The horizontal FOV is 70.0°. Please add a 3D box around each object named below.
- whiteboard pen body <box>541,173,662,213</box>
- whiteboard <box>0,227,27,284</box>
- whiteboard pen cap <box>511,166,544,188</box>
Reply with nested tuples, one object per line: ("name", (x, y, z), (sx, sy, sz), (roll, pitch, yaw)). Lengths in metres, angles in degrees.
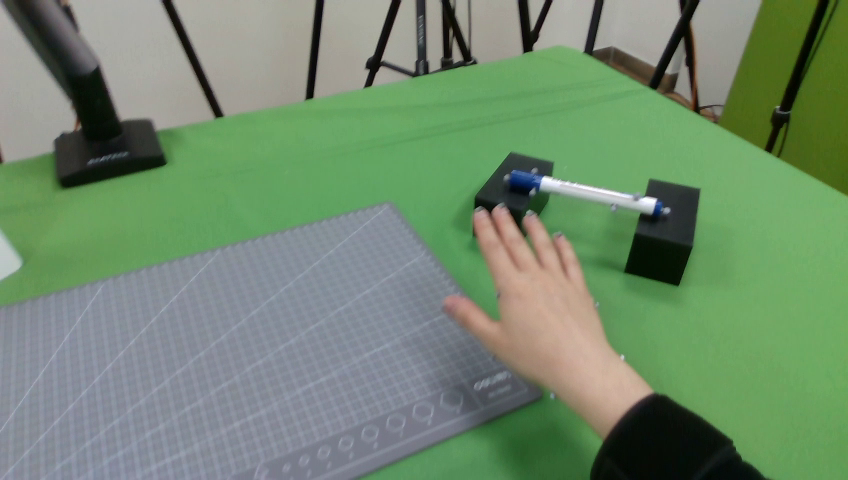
("whiteboard pen body", (0.158, -0.049, 0.588), (0.140, 0.017, 0.017), (15, 41, 17))
("whiteboard", (-0.540, -0.048, 0.489), (0.143, 0.308, 0.216), (3, 35, 36))
("whiteboard pen cap", (0.104, -0.062, 0.605), (0.033, 0.018, 0.018), (16, 42, 15))
